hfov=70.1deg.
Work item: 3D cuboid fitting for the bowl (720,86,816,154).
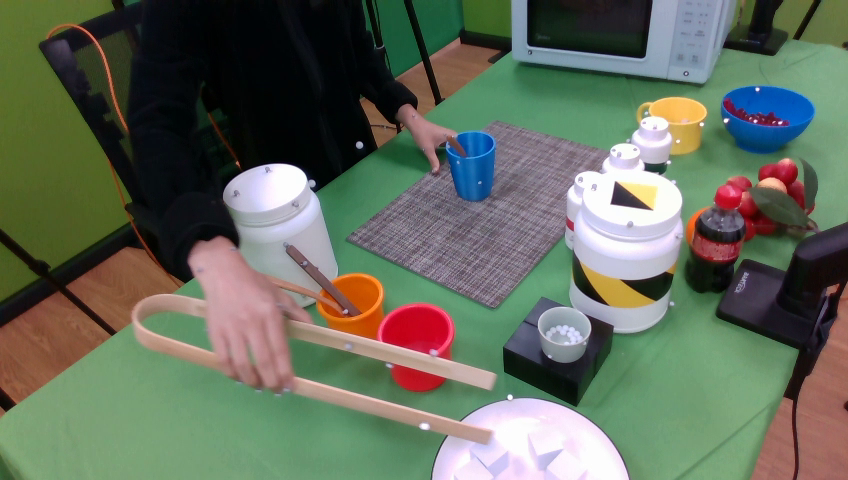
[{"bbox_3d":[0.605,-0.206,1.082,0.151,0.077,0.150,-5,40,5],"label":"bowl"}]

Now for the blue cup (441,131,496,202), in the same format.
[{"bbox_3d":[0.084,-0.122,1.041,0.092,0.100,0.092,-4,41,4],"label":"blue cup"}]

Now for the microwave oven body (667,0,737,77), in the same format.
[{"bbox_3d":[0.462,-0.552,1.368,0.439,0.261,0.326,15,45,26],"label":"microwave oven body"}]

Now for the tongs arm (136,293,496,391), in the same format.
[{"bbox_3d":[-0.112,0.117,0.649,0.385,0.026,0.050,16,38,0],"label":"tongs arm"}]

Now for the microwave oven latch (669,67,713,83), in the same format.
[{"bbox_3d":[0.556,-0.349,1.261,0.078,0.029,0.030,16,46,27],"label":"microwave oven latch"}]

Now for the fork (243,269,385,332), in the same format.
[{"bbox_3d":[-0.141,0.081,0.802,0.209,0.018,0.028,29,40,-26],"label":"fork"}]

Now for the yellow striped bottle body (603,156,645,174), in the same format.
[{"bbox_3d":[0.313,-0.089,0.956,0.063,0.121,0.062,-4,39,4],"label":"yellow striped bottle body"}]

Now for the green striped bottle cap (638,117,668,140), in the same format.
[{"bbox_3d":[0.369,-0.180,0.974,0.044,0.020,0.044,-4,41,4],"label":"green striped bottle cap"}]

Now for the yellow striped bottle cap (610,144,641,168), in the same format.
[{"bbox_3d":[0.307,-0.128,0.923,0.044,0.019,0.044,-6,39,5],"label":"yellow striped bottle cap"}]

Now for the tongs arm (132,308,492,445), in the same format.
[{"bbox_3d":[-0.119,0.143,0.614,0.387,0.028,0.028,17,42,2],"label":"tongs arm"}]

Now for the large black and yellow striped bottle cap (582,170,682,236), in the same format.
[{"bbox_3d":[0.252,-0.048,0.735,0.115,0.019,0.114,-3,40,3],"label":"large black and yellow striped bottle cap"}]

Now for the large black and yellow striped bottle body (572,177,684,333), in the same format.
[{"bbox_3d":[0.262,0.017,0.788,0.131,0.185,0.130,-5,40,4],"label":"large black and yellow striped bottle body"}]

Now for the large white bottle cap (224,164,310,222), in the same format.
[{"bbox_3d":[-0.215,-0.066,0.829,0.115,0.018,0.114,-4,40,4],"label":"large white bottle cap"}]

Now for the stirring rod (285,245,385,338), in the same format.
[{"bbox_3d":[-0.120,0.070,0.819,0.176,0.006,0.014,44,50,-6],"label":"stirring rod"}]

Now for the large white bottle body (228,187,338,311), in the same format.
[{"bbox_3d":[-0.207,-0.002,0.884,0.130,0.185,0.130,-4,40,4],"label":"large white bottle body"}]

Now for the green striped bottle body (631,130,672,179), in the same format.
[{"bbox_3d":[0.375,-0.140,1.007,0.063,0.120,0.063,-5,40,5],"label":"green striped bottle body"}]

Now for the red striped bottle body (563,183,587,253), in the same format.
[{"bbox_3d":[0.246,-0.041,0.910,0.063,0.120,0.062,-2,38,2],"label":"red striped bottle body"}]

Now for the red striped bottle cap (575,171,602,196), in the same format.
[{"bbox_3d":[0.242,-0.081,0.876,0.044,0.018,0.044,-5,44,5],"label":"red striped bottle cap"}]

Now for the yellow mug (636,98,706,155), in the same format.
[{"bbox_3d":[0.453,-0.217,1.128,0.100,0.064,0.129,-34,46,-27],"label":"yellow mug"}]

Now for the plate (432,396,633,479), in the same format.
[{"bbox_3d":[0.112,0.261,0.634,0.209,0.038,0.208,-5,40,4],"label":"plate"}]

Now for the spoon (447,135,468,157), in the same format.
[{"bbox_3d":[0.067,-0.132,0.993,0.041,0.195,0.021,6,74,21],"label":"spoon"}]

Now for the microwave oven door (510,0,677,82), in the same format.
[{"bbox_3d":[0.352,-0.477,1.289,0.353,0.245,0.039,15,44,25],"label":"microwave oven door"}]
